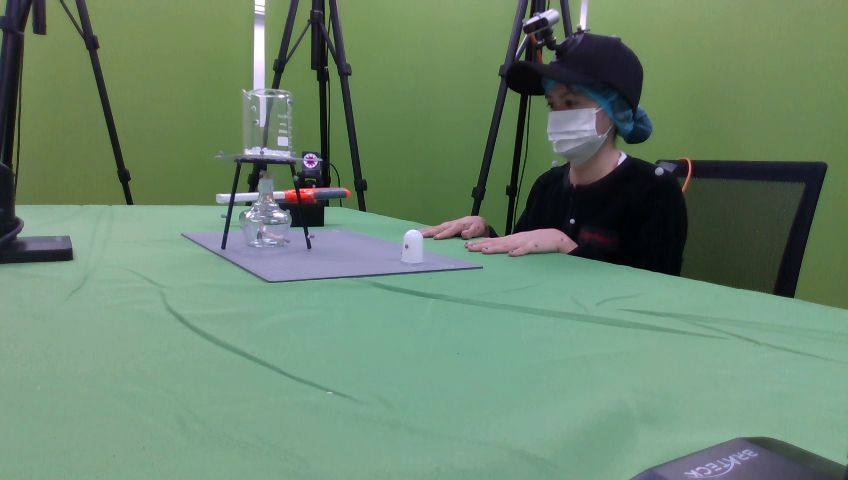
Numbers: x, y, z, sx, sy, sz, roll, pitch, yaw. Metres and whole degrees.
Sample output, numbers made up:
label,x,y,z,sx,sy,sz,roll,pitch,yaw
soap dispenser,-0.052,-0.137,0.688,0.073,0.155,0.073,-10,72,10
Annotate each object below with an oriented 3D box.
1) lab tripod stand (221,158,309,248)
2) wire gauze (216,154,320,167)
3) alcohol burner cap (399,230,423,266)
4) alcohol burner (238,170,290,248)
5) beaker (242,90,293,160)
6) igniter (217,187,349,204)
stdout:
label,x,y,z,sx,sy,sz,roll,pitch,yaw
lab tripod stand,-0.244,-0.057,0.917,0.148,0.131,0.148,1,7,0
wire gauze,-0.236,-0.121,0.906,0.126,0.011,0.121,0,8,-33
alcohol burner cap,-0.017,0.010,0.837,0.034,0.048,0.034,3,7,0
alcohol burner,-0.244,-0.048,0.927,0.078,0.119,0.078,3,5,0
beaker,-0.235,-0.169,0.900,0.074,0.100,0.084,4,7,23
igniter,-0.285,-0.093,1.256,0.278,0.025,0.057,-6,12,-34
